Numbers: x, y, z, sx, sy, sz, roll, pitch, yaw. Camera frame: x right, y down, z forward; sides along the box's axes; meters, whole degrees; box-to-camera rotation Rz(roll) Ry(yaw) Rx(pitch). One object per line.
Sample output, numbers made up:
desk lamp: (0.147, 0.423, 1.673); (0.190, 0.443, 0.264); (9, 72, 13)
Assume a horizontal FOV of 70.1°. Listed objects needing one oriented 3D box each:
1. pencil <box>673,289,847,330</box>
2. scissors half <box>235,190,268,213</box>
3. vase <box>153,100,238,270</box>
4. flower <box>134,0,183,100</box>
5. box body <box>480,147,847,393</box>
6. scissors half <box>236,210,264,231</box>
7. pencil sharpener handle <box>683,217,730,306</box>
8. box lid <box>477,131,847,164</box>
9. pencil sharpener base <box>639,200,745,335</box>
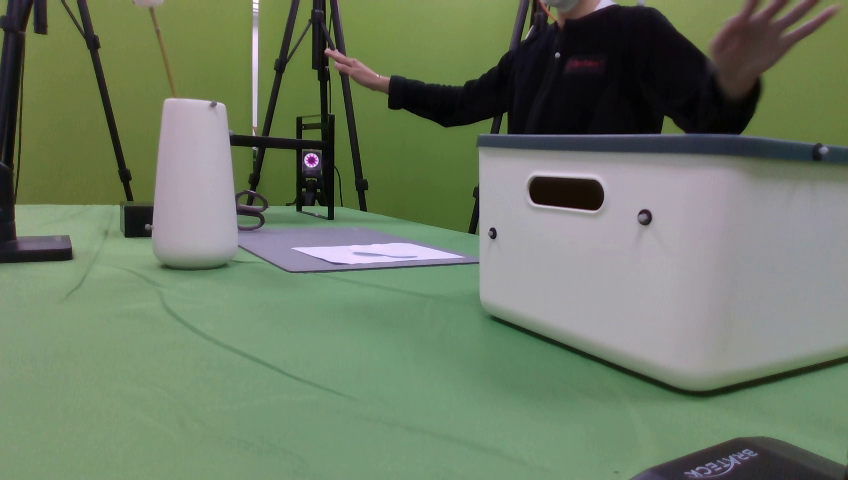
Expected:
pencil: (0.330, 0.066, 0.609); (0.012, 0.012, 0.193); (-1, 6, -28)
scissors half: (-0.363, -0.070, 1.060); (0.176, 0.040, 0.013); (0, 16, -23)
vase: (-0.278, -0.066, 0.736); (0.098, 0.200, 0.098); (2, 9, 0)
flower: (-0.282, -0.147, 0.713); (0.038, 0.362, 0.044); (-23, 24, -31)
box body: (0.255, 0.001, 0.541); (0.366, 0.160, 0.253); (-2, 9, -31)
scissors half: (-0.369, -0.051, 1.064); (0.176, 0.040, 0.012); (19, 13, -27)
pencil sharpener handle: (0.225, 0.017, 0.476); (0.036, 0.067, 0.030); (7, 9, 6)
box lid: (0.257, -0.072, 0.531); (0.373, 0.015, 0.262); (-1, 8, -31)
pencil sharpener base: (0.231, 0.022, 0.528); (0.061, 0.107, 0.077); (4, 9, 6)
